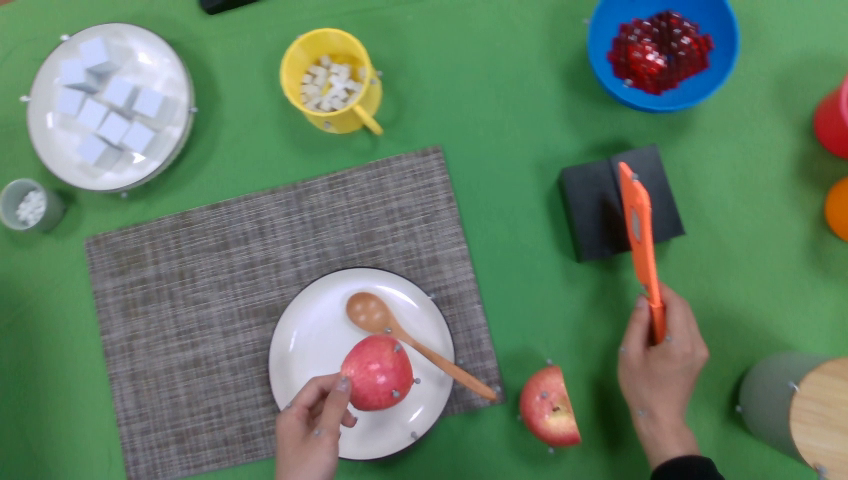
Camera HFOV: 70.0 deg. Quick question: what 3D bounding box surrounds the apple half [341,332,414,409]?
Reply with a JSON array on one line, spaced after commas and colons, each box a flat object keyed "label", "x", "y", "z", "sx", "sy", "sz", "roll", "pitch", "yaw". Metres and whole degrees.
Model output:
[{"label": "apple half", "x": -0.040, "y": 0.132, "z": 0.598, "sx": 0.082, "sy": 0.032, "sz": 0.081, "roll": 6, "pitch": 80, "yaw": -33}]

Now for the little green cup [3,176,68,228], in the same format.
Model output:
[{"label": "little green cup", "x": -0.467, "y": -0.044, "z": 0.732, "sx": 0.061, "sy": 0.039, "sz": 0.061, "roll": 0, "pitch": 85, "yaw": 5}]

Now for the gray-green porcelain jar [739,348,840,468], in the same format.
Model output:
[{"label": "gray-green porcelain jar", "x": 0.373, "y": 0.159, "z": 0.580, "sx": 0.106, "sy": 0.127, "sz": 0.105, "roll": -1, "pitch": 84, "yaw": 7}]

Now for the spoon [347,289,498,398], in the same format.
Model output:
[{"label": "spoon", "x": -0.004, "y": 0.114, "z": 0.652, "sx": 0.192, "sy": 0.022, "sz": 0.041, "roll": 33, "pitch": 89, "yaw": 19}]

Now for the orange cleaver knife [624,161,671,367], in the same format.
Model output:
[{"label": "orange cleaver knife", "x": 0.222, "y": 0.026, "z": 0.605, "sx": 0.012, "sy": 0.076, "sz": 0.213, "roll": -13, "pitch": 111, "yaw": 6}]

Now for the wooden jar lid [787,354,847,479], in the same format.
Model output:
[{"label": "wooden jar lid", "x": 0.365, "y": 0.151, "z": 0.518, "sx": 0.108, "sy": 0.021, "sz": 0.108, "roll": 0, "pitch": 87, "yaw": 6}]

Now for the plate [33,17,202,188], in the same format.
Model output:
[{"label": "plate", "x": -0.364, "y": -0.163, "z": 0.733, "sx": 0.207, "sy": 0.039, "sz": 0.207, "roll": -1, "pitch": 85, "yaw": 6}]

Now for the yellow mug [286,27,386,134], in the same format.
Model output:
[{"label": "yellow mug", "x": -0.088, "y": -0.170, "z": 0.690, "sx": 0.100, "sy": 0.064, "sz": 0.130, "roll": -43, "pitch": 83, "yaw": 1}]

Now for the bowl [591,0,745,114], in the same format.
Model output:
[{"label": "bowl", "x": 0.251, "y": -0.200, "z": 0.650, "sx": 0.151, "sy": 0.077, "sz": 0.151, "roll": -1, "pitch": 85, "yaw": 6}]

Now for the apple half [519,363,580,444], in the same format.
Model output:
[{"label": "apple half", "x": 0.127, "y": 0.173, "z": 0.633, "sx": 0.053, "sy": 0.075, "sz": 0.080, "roll": -17, "pitch": 87, "yaw": 8}]

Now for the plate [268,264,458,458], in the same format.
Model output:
[{"label": "plate", "x": -0.066, "y": 0.131, "z": 0.670, "sx": 0.209, "sy": 0.038, "sz": 0.208, "roll": 0, "pitch": 85, "yaw": 6}]
